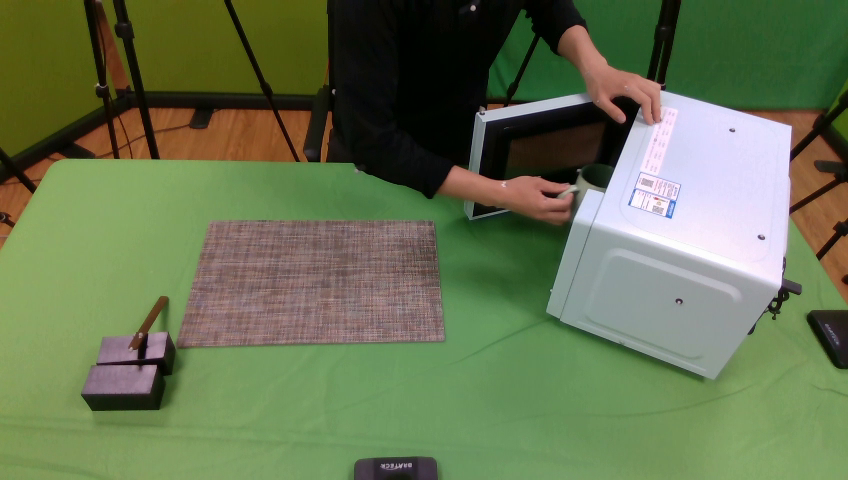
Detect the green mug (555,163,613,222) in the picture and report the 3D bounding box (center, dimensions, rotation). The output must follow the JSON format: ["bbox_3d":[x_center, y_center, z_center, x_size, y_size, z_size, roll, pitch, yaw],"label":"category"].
[{"bbox_3d":[0.302,-0.076,1.121,0.125,0.105,0.092,-10,45,-15],"label":"green mug"}]

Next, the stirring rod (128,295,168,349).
[{"bbox_3d":[-0.451,0.131,0.996,0.014,0.006,0.175,9,21,-10],"label":"stirring rod"}]

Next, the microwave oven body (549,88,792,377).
[{"bbox_3d":[0.456,-0.028,1.088,0.325,0.261,0.440,20,47,16],"label":"microwave oven body"}]

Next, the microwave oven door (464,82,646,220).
[{"bbox_3d":[0.258,-0.177,1.209,0.356,0.245,0.039,-14,48,-16],"label":"microwave oven door"}]

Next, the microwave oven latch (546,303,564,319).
[{"bbox_3d":[0.242,0.102,1.081,0.030,0.029,0.079,22,48,17],"label":"microwave oven latch"}]
